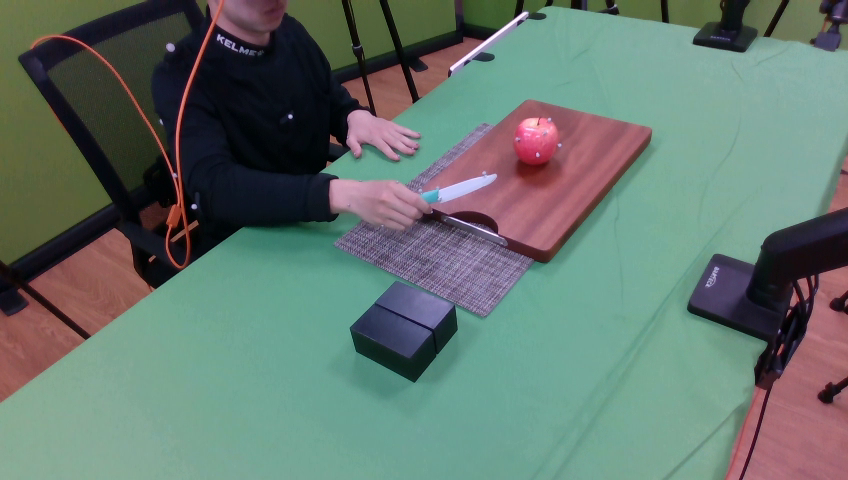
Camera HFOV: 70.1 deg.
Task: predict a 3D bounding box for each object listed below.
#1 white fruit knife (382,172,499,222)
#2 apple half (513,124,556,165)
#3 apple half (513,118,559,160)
[{"bbox_3d":[0.020,-0.068,0.919,0.206,0.027,0.016,-18,27,25],"label":"white fruit knife"},{"bbox_3d":[0.185,-0.157,1.041,0.081,0.081,0.033,14,41,23],"label":"apple half"},{"bbox_3d":[0.203,-0.180,1.067,0.080,0.075,0.053,12,40,27],"label":"apple half"}]
